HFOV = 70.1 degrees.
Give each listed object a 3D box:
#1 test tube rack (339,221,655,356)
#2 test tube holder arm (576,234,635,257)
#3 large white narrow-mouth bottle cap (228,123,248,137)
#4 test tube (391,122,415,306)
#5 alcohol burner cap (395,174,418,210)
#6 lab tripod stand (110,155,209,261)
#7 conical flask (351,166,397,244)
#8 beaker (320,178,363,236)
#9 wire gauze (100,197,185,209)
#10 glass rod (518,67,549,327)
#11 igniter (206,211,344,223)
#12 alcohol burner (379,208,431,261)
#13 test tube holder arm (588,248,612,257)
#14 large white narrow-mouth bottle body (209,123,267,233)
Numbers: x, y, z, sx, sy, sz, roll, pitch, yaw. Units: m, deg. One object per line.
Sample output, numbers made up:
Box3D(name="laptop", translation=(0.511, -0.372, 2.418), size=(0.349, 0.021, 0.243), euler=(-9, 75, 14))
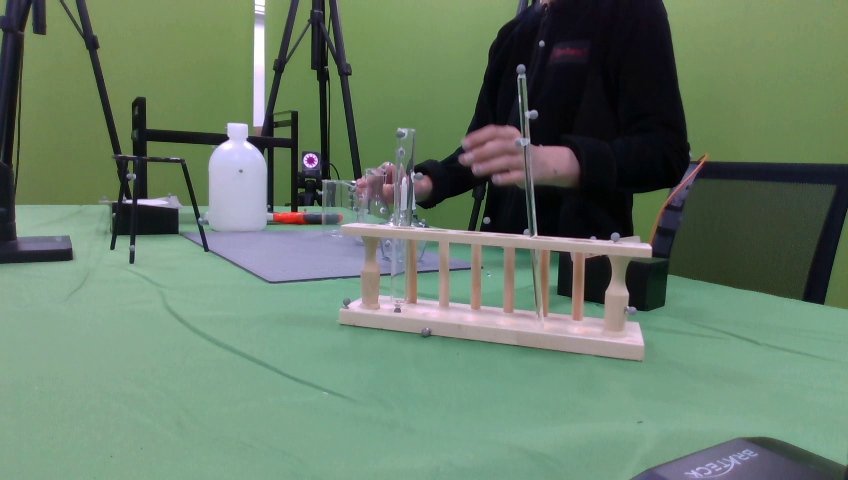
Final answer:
Box3D(name="test tube rack", translation=(0.056, 0.032, 0.495), size=(0.242, 0.085, 0.067), euler=(4, 7, 15))
Box3D(name="test tube holder arm", translation=(0.200, 0.004, 0.652), size=(0.013, 0.015, 0.179), euler=(2, 5, 33))
Box3D(name="large white narrow-mouth bottle cap", translation=(-0.338, -0.199, 1.097), size=(0.038, 0.024, 0.037), euler=(2, 8, 0))
Box3D(name="test tube", translation=(-0.017, -0.019, 0.488), size=(0.017, 0.150, 0.017), euler=(2, 11, 0))
Box3D(name="alcohol burner cap", translation=(-0.026, -0.067, 0.833), size=(0.034, 0.048, 0.034), euler=(-2, 12, 1))
Box3D(name="lab tripod stand", translation=(-0.362, -0.046, 0.806), size=(0.148, 0.131, 0.148), euler=(2, 5, 0))
Box3D(name="conical flask", translation=(-0.080, -0.058, 0.974), size=(0.075, 0.122, 0.075), euler=(2, 9, 0))
Box3D(name="beaker", translation=(-0.145, -0.059, 1.078), size=(0.074, 0.100, 0.083), euler=(-4, 10, -36))
Box3D(name="wire gauze", translation=(-0.469, -0.062, 1.008), size=(0.126, 0.011, 0.121), euler=(-2, 8, -25))
Box3D(name="glass rod", translation=(0.084, -0.029, 0.459), size=(0.008, 0.199, 0.008), euler=(-7, 11, 2))
Box3D(name="igniter", translation=(-0.302, -0.048, 1.249), size=(0.278, 0.025, 0.057), euler=(-2, -2, -26))
Box3D(name="alcohol burner", translation=(-0.027, -0.031, 0.838), size=(0.078, 0.119, 0.078), euler=(0, 6, 0))
Box3D(name="test tube holder arm", translation=(0.179, 0.007, 0.612), size=(0.010, 0.015, 0.088), euler=(3, 5, 35))
Box3D(name="large white narrow-mouth bottle body", translation=(-0.340, -0.115, 1.109), size=(0.102, 0.194, 0.102), euler=(2, 8, 0))
